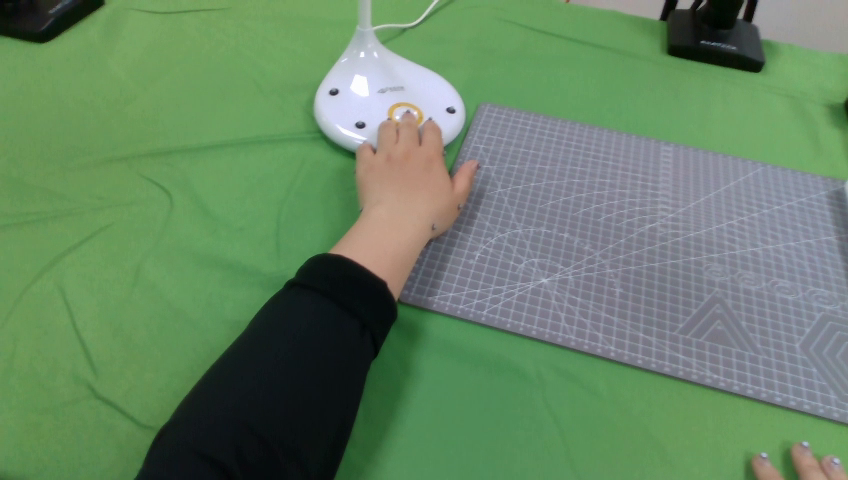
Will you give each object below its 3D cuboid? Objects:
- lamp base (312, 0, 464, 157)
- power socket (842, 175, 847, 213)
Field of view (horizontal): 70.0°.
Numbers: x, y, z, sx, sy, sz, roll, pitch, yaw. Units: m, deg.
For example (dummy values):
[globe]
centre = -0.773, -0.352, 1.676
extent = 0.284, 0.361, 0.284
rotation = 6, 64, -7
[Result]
[lamp base]
centre = -0.041, -0.201, 0.593
extent = 0.161, 0.182, 0.177
rotation = -24, 50, -25
[power socket]
centre = 0.425, 0.008, 0.533
extent = 0.072, 0.033, 0.225
rotation = 16, 47, 9
